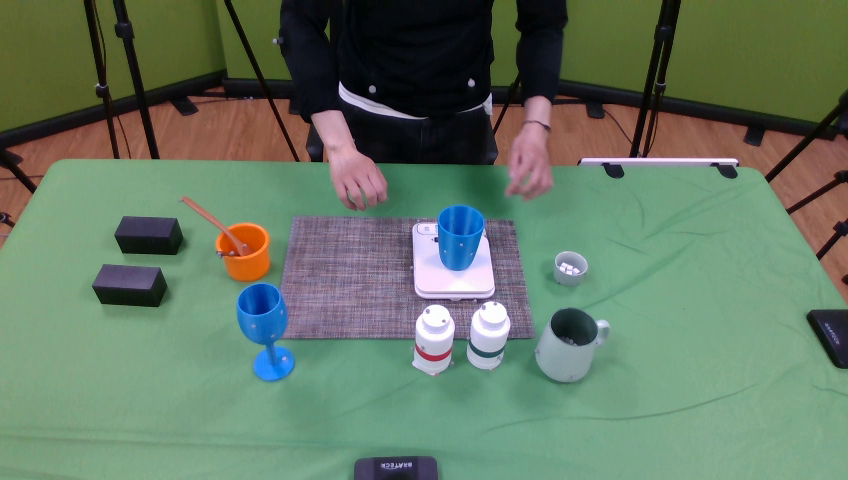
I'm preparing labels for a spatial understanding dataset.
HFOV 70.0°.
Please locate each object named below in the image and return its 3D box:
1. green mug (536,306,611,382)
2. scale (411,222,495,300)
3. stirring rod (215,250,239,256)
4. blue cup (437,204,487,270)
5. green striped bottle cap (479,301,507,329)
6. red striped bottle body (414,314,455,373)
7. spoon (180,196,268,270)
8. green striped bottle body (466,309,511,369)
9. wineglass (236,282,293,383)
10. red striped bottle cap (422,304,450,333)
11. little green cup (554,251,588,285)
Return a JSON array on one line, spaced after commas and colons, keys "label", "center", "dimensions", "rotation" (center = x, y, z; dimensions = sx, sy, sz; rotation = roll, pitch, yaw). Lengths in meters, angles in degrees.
[{"label": "green mug", "center": [0.250, 0.167, 0.996], "dimensions": [0.125, 0.105, 0.092], "rotation": [-15, 49, -19]}, {"label": "scale", "center": [0.052, 0.031, 1.158], "dimensions": [0.149, 0.032, 0.199], "rotation": [1, 46, -4]}, {"label": "stirring rod", "center": [-0.339, 0.024, 1.059], "dimensions": [0.014, 0.176, 0.006], "rotation": [17, 86, -6]}, {"label": "blue cup", "center": [0.062, 0.000, 1.097], "dimensions": [0.093, 0.101, 0.092], "rotation": [2, 44, -2]}, {"label": "green striped bottle cap", "center": [0.109, 0.117, 0.950], "dimensions": [0.044, 0.020, 0.044], "rotation": [2, 47, -2]}, {"label": "red striped bottle body", "center": [0.016, 0.158, 0.977], "dimensions": [0.063, 0.120, 0.062], "rotation": [2, 46, -2]}, {"label": "spoon", "center": [-0.360, -0.014, 1.094], "dimensions": [0.021, 0.194, 0.041], "rotation": [-28, 26, 31]}, {"label": "green striped bottle body", "center": [0.105, 0.154, 0.988], "dimensions": [0.063, 0.120, 0.063], "rotation": [2, 46, -2]}, {"label": "wineglass", "center": [-0.243, 0.143, 0.934], "dimensions": [0.074, 0.173, 0.073], "rotation": [2, 46, -2]}, {"label": "red striped bottle cap", "center": [0.018, 0.121, 0.939], "dimensions": [0.044, 0.018, 0.044], "rotation": [0, 48, 0]}, {"label": "little green cup", "center": [0.277, 0.055, 1.151], "dimensions": [0.061, 0.039, 0.061], "rotation": [1, 46, -1]}]
